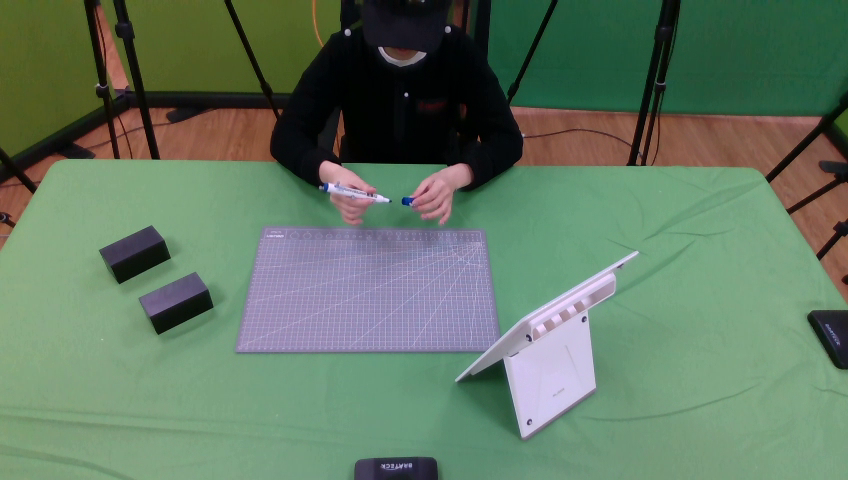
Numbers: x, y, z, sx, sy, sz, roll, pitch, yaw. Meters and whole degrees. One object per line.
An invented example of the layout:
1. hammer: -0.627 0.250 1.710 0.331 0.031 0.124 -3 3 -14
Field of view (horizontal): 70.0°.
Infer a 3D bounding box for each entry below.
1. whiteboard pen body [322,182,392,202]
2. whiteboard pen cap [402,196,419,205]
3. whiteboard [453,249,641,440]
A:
1. whiteboard pen body: -0.120 -0.086 1.113 0.141 0.017 0.017 10 40 -31
2. whiteboard pen cap: -0.027 -0.076 1.167 0.033 0.018 0.018 -3 44 -32
3. whiteboard: 0.206 0.174 0.890 0.217 0.306 0.143 -25 72 -25
